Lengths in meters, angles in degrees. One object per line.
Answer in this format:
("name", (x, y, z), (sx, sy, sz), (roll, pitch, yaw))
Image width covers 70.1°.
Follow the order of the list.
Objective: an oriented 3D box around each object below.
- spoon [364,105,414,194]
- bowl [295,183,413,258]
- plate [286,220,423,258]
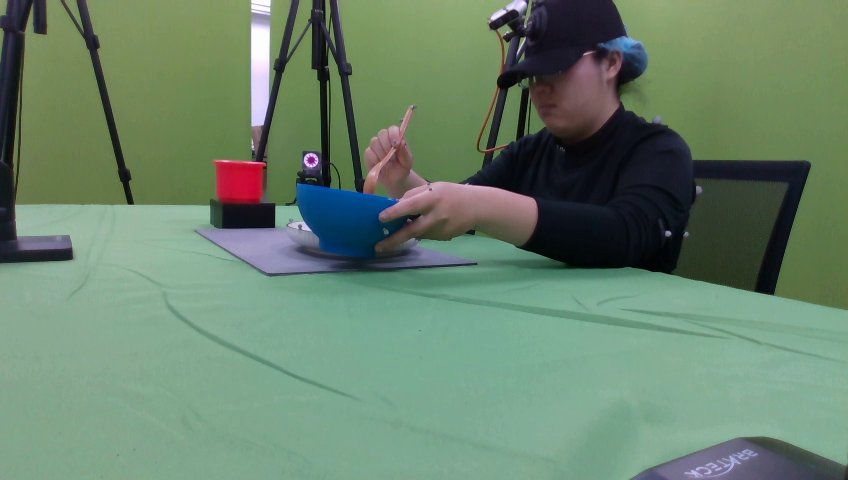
("spoon", (-0.051, -0.139, 0.931), (0.022, 0.194, 0.041), (35, -33, -14))
("bowl", (-0.093, -0.022, 0.768), (0.151, 0.077, 0.151), (9, 5, -1))
("plate", (-0.105, -0.003, 0.922), (0.208, 0.039, 0.207), (3, 8, 0))
